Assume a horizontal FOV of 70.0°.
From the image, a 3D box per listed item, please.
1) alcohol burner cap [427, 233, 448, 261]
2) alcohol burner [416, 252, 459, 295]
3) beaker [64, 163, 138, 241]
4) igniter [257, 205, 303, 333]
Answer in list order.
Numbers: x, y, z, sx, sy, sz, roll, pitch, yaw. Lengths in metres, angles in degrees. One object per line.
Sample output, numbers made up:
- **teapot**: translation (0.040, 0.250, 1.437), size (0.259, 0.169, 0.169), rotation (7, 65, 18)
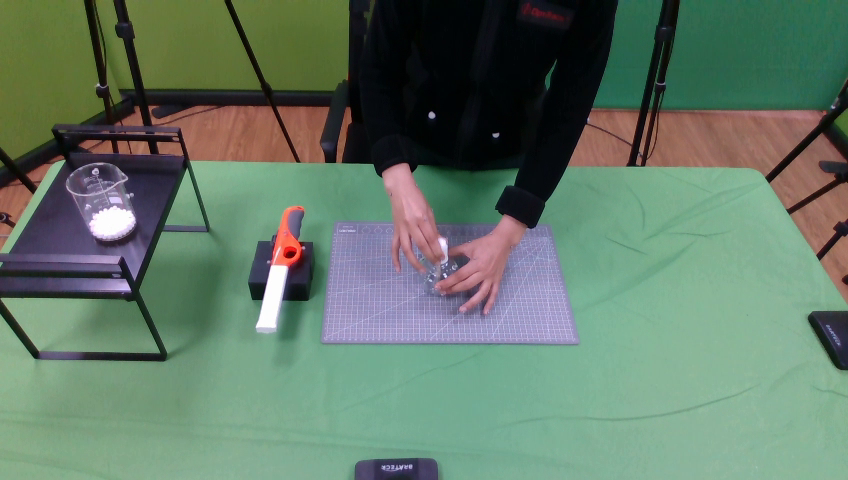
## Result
- **alcohol burner cap**: translation (0.026, 0.010, 1.058), size (0.034, 0.048, 0.033), rotation (9, 38, -7)
- **alcohol burner**: translation (0.025, 0.042, 1.087), size (0.078, 0.120, 0.077), rotation (1, 46, -1)
- **beaker**: translation (-0.477, -0.055, 0.910), size (0.084, 0.101, 0.073), rotation (-9, 48, -13)
- **igniter**: translation (-0.252, 0.041, 1.069), size (0.057, 0.025, 0.275), rotation (3, 50, -2)
